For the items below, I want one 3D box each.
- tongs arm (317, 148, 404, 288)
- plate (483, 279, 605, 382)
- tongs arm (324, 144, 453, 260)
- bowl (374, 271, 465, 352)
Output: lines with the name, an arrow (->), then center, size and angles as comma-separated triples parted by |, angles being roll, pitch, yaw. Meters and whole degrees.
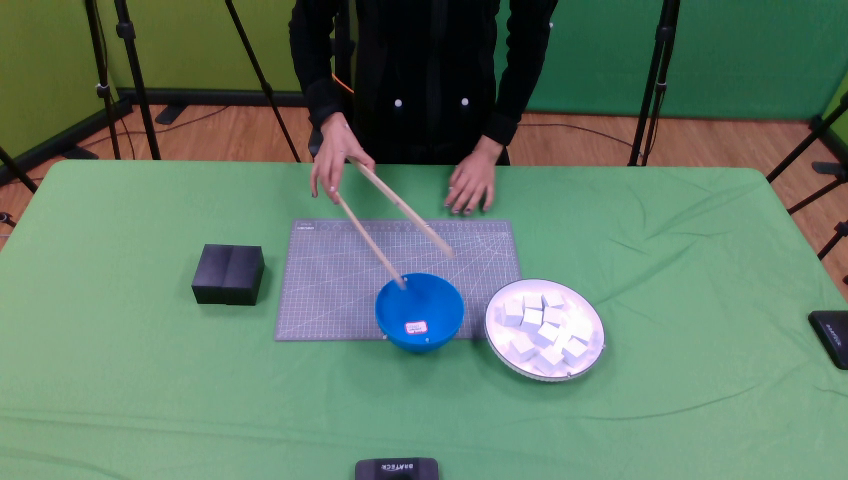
tongs arm -> -0.122, -0.050, 1.102 | 0.028, 0.028, 0.385 | -30, 51, -8
plate -> 0.204, 0.158, 1.046 | 0.208, 0.039, 0.206 | 3, 47, -3
tongs arm -> -0.077, -0.077, 1.116 | 0.051, 0.027, 0.382 | -32, 52, -14
bowl -> -0.009, 0.136, 1.024 | 0.151, 0.077, 0.150 | 2, 47, -2
